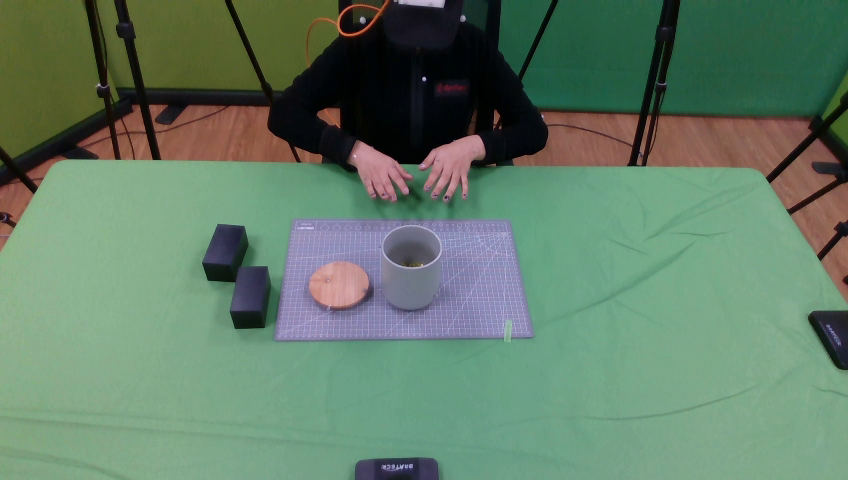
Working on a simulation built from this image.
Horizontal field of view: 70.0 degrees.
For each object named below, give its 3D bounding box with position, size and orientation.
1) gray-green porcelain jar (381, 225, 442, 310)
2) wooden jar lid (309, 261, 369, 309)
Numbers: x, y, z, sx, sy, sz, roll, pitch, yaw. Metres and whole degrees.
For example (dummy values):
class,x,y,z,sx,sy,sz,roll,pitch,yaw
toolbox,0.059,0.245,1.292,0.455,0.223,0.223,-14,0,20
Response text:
class,x,y,z,sx,sy,sz,roll,pitch,yaw
gray-green porcelain jar,-0.023,0.053,1.068,0.106,0.127,0.105,2,46,-2
wooden jar lid,-0.155,0.084,1.104,0.108,0.021,0.107,3,47,-3
